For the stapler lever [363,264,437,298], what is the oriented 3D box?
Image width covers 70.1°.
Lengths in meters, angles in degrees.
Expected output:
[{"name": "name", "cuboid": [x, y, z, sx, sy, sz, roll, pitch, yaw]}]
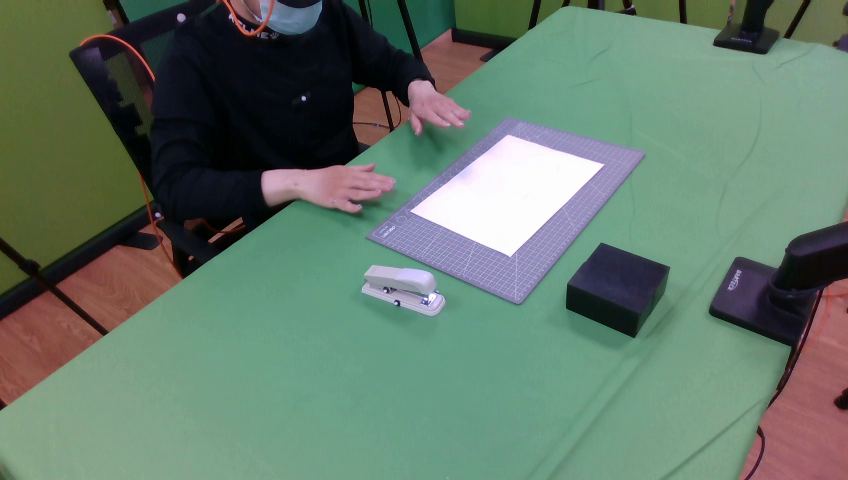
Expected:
[{"name": "stapler lever", "cuboid": [-0.036, 0.054, 0.873, 0.117, 0.040, 0.027, 14, 42, 26]}]

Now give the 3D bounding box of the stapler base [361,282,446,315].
[{"name": "stapler base", "cuboid": [-0.031, 0.073, 0.889, 0.130, 0.024, 0.041, 14, 42, 26]}]
